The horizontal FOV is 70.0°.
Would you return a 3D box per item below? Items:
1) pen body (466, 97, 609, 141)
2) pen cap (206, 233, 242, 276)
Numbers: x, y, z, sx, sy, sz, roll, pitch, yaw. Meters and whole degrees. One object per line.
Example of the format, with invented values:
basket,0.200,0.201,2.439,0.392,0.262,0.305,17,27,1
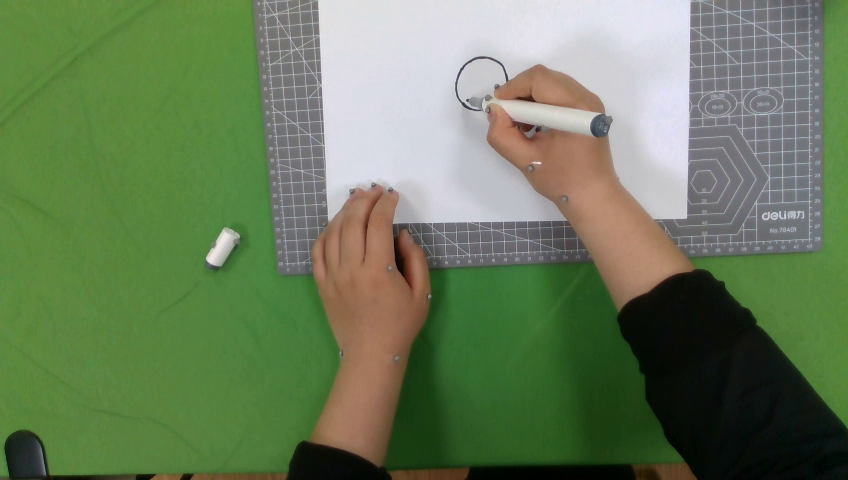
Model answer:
pen body,0.074,-0.090,0.440,0.017,0.142,0.017,-14,115,-31
pen cap,-0.176,0.014,0.531,0.017,0.017,0.038,35,98,3
